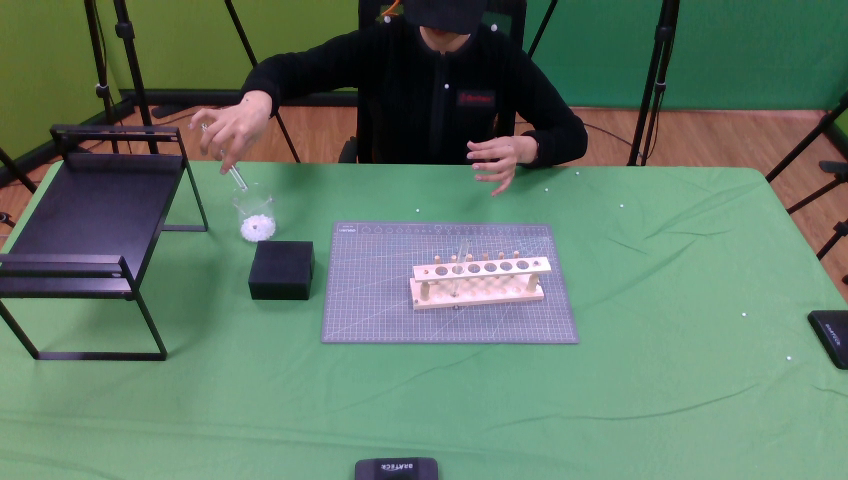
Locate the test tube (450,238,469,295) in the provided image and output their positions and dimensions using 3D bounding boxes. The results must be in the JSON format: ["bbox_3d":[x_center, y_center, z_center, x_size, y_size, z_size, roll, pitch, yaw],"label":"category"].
[{"bbox_3d":[0.060,0.048,1.040,0.017,0.151,0.017,3,51,-4],"label":"test tube"}]

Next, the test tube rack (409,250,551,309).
[{"bbox_3d":[0.098,0.065,1.096,0.243,0.085,0.066,-4,47,-8],"label":"test tube rack"}]

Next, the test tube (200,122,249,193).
[{"bbox_3d":[-0.373,-0.155,1.131,0.017,0.017,0.150,-33,92,-30],"label":"test tube"}]

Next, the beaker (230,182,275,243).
[{"bbox_3d":[-0.328,-0.049,1.166,0.074,0.101,0.083,2,47,-2],"label":"beaker"}]
